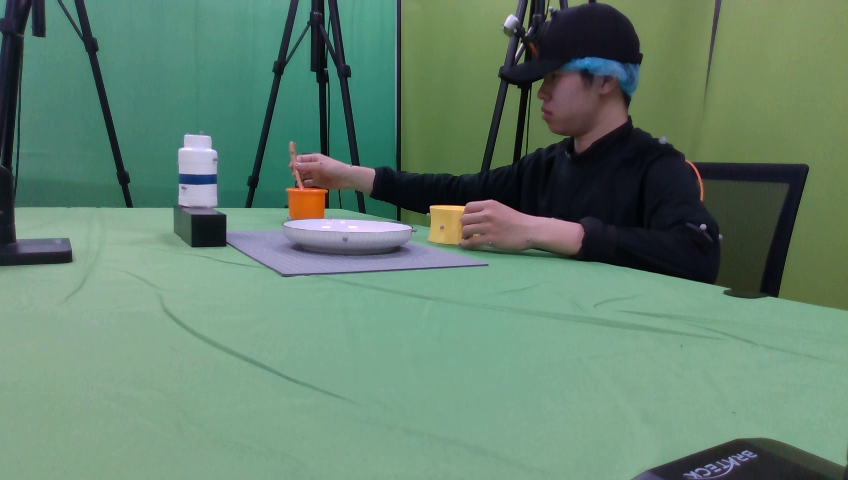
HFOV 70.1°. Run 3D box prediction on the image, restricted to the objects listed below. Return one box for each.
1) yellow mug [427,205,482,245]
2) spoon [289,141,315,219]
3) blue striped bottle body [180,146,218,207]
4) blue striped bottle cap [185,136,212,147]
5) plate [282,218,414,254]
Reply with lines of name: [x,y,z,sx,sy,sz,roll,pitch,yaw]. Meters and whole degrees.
yellow mug: [0.062,-0.028,1.111,0.100,0.064,0.130,0,8,-20]
spoon: [-0.280,-0.137,1.358,0.042,0.193,0.021,1,-27,-45]
blue striped bottle body: [-0.392,-0.118,1.053,0.063,0.120,0.063,3,8,0]
blue striped bottle cap: [-0.390,-0.169,1.047,0.044,0.020,0.044,4,10,0]
plate: [-0.121,-0.007,0.971,0.208,0.039,0.207,2,7,0]
